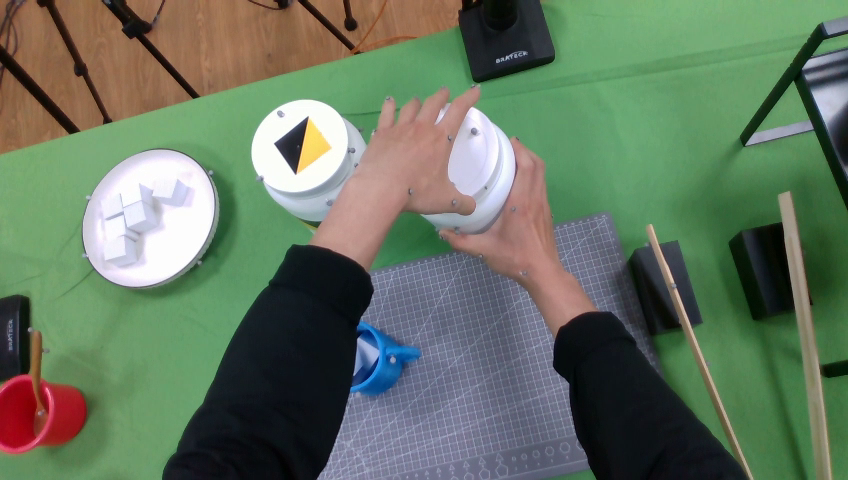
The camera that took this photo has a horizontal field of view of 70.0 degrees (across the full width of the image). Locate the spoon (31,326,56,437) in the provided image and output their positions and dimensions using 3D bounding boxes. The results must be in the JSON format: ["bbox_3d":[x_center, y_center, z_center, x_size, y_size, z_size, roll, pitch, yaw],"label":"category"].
[{"bbox_3d":[-0.494,0.186,0.780,0.041,0.021,0.195,32,126,20],"label":"spoon"}]

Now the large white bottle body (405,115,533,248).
[{"bbox_3d":[0.050,-0.072,0.710,0.130,0.186,0.130,-5,75,18],"label":"large white bottle body"}]

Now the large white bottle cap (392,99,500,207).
[{"bbox_3d":[0.021,-0.092,0.632,0.114,0.018,0.114,-5,76,18],"label":"large white bottle cap"}]

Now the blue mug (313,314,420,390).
[{"bbox_3d":[-0.062,0.137,0.737,0.116,0.106,0.082,-7,73,8],"label":"blue mug"}]

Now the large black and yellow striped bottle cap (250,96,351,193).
[{"bbox_3d":[-0.141,-0.110,0.690,0.115,0.019,0.114,-2,75,8],"label":"large black and yellow striped bottle cap"}]

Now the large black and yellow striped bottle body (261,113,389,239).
[{"bbox_3d":[-0.127,-0.086,0.769,0.130,0.185,0.130,-3,74,9],"label":"large black and yellow striped bottle body"}]

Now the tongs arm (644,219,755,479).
[{"bbox_3d":[0.332,0.151,0.668,0.051,0.026,0.383,-18,85,2],"label":"tongs arm"}]

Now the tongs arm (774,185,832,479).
[{"bbox_3d":[0.412,0.132,0.662,0.028,0.028,0.386,-4,86,0],"label":"tongs arm"}]

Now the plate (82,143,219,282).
[{"bbox_3d":[-0.390,-0.038,0.878,0.207,0.039,0.206,-2,75,9],"label":"plate"}]
